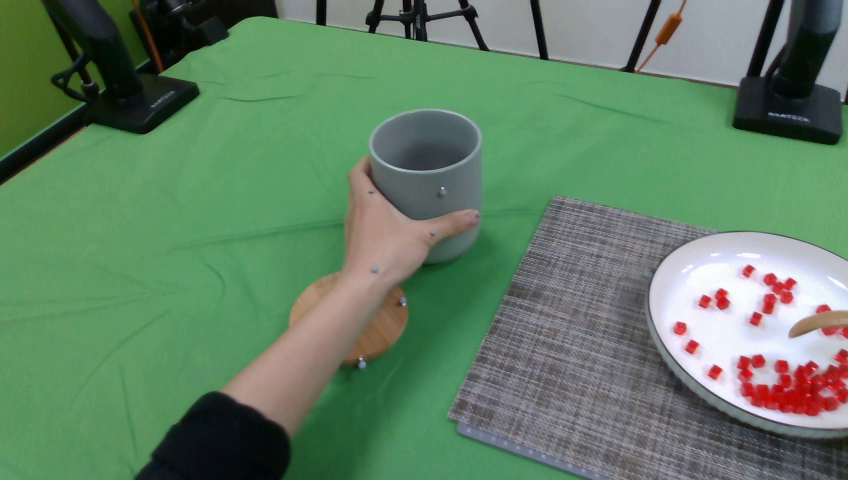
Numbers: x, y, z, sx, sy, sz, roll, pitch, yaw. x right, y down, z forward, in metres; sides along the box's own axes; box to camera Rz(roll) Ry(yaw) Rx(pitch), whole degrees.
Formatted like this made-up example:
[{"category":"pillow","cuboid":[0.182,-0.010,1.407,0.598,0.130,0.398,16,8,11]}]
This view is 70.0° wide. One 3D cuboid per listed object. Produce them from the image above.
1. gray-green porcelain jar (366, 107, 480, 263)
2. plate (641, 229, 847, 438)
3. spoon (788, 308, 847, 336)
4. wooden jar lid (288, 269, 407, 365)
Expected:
[{"category":"gray-green porcelain jar","cuboid":[0.002,-0.049,0.598,0.106,0.128,0.105,-2,44,2]},{"category":"plate","cuboid":[0.287,0.074,0.505,0.207,0.039,0.205,-2,44,2]},{"category":"spoon","cuboid":[0.337,0.054,0.398,0.042,0.021,0.193,-3,-5,-29]},{"category":"wooden jar lid","cuboid":[-0.069,0.071,0.557,0.108,0.021,0.107,-1,45,1]}]
